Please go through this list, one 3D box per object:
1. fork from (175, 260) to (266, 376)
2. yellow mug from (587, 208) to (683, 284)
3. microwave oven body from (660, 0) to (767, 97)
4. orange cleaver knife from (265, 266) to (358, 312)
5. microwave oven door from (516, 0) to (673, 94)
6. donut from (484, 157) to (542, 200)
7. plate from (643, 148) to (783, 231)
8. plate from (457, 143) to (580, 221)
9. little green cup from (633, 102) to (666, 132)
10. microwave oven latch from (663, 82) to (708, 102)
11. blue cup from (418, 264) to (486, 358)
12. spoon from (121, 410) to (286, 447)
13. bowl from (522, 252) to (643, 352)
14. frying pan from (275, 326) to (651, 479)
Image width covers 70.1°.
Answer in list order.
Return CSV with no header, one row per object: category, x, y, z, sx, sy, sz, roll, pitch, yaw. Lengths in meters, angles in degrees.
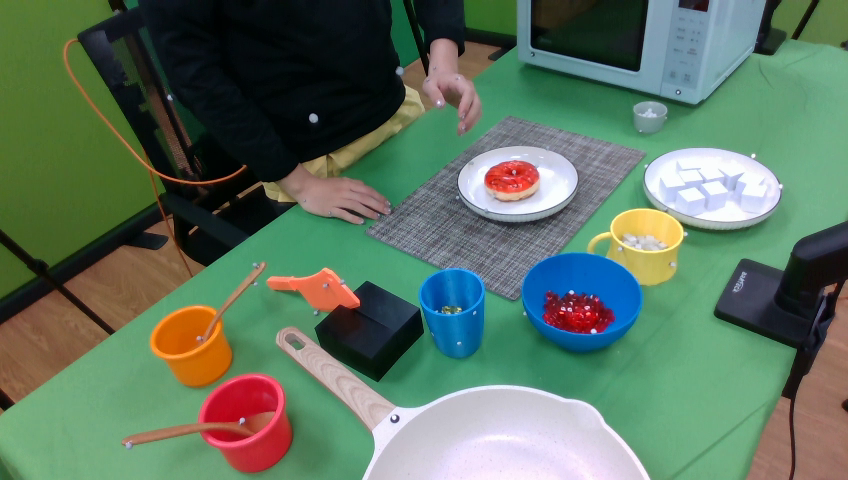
fork,-0.268,0.103,0.792,0.207,0.019,0.028,-51,41,16
yellow mug,0.305,0.009,0.884,0.131,0.064,0.099,-4,40,5
microwave oven body,0.473,-0.516,1.313,0.438,0.261,0.327,26,51,34
orange cleaver knife,-0.164,0.073,0.864,0.210,0.077,0.012,-6,31,50
microwave oven door,0.344,-0.458,1.256,0.353,0.245,0.039,26,52,33
donut,0.153,-0.107,1.039,0.099,0.048,0.098,-6,37,5
plate,0.464,-0.080,0.985,0.207,0.039,0.206,-4,41,4
plate,0.162,-0.097,1.042,0.209,0.038,0.208,-4,40,4
little green cup,0.434,-0.238,1.171,0.061,0.039,0.061,-5,39,4
microwave oven latch,0.518,-0.299,1.203,0.078,0.029,0.030,29,53,36
blue cup,0.042,0.100,0.787,0.092,0.101,0.092,-5,41,5
spoon,-0.236,0.208,0.669,0.041,0.021,0.195,36,13,38
bowl,0.204,0.093,0.792,0.151,0.077,0.150,-4,40,4
frying pan,0.004,0.229,0.641,0.484,0.103,0.308,34,54,28
